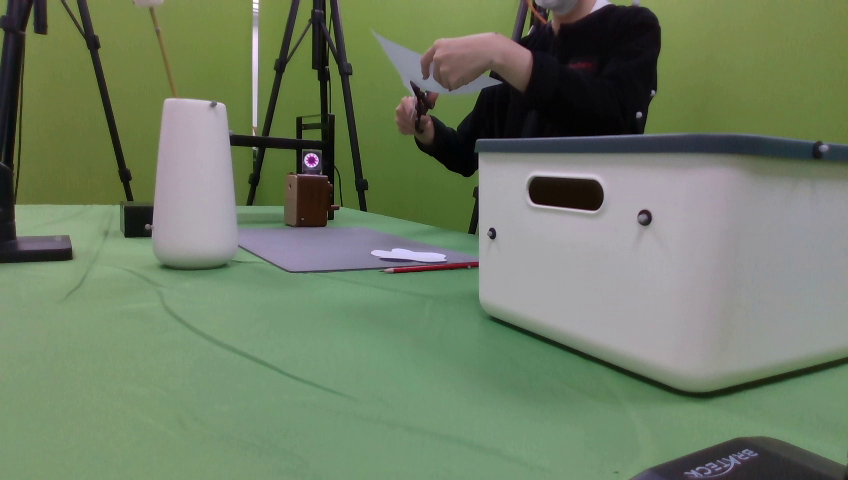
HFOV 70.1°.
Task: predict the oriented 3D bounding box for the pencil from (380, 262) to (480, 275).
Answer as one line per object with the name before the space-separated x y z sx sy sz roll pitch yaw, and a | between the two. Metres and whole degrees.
pencil | 0.030 0.036 0.794 0.195 0.012 0.012 -3 9 -30

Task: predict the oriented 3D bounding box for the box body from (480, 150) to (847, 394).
box body | 0.254 0.002 0.539 0.366 0.160 0.253 -2 9 -31

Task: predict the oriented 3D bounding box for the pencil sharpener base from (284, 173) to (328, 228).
pencil sharpener base | -0.239 -0.081 1.231 0.077 0.107 0.061 -2 8 -36

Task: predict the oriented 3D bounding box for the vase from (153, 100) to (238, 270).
vase | -0.278 -0.066 0.736 0.098 0.200 0.098 2 9 0

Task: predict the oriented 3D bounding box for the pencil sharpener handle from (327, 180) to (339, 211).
pencil sharpener handle | -0.194 -0.094 1.256 0.031 0.067 0.036 -2 -6 -36

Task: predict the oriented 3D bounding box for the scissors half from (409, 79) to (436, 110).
scissors half | -0.003 -0.271 1.105 0.013 0.040 0.175 13 5 14

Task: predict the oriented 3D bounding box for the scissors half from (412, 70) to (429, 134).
scissors half | -0.010 -0.249 1.101 0.013 0.040 0.175 18 -24 15

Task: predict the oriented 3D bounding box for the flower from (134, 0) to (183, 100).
flower | -0.282 -0.147 0.713 0.038 0.362 0.044 -23 24 -31

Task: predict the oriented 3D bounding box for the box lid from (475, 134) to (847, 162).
box lid | 0.256 -0.073 0.528 0.373 0.015 0.262 -2 8 -31
